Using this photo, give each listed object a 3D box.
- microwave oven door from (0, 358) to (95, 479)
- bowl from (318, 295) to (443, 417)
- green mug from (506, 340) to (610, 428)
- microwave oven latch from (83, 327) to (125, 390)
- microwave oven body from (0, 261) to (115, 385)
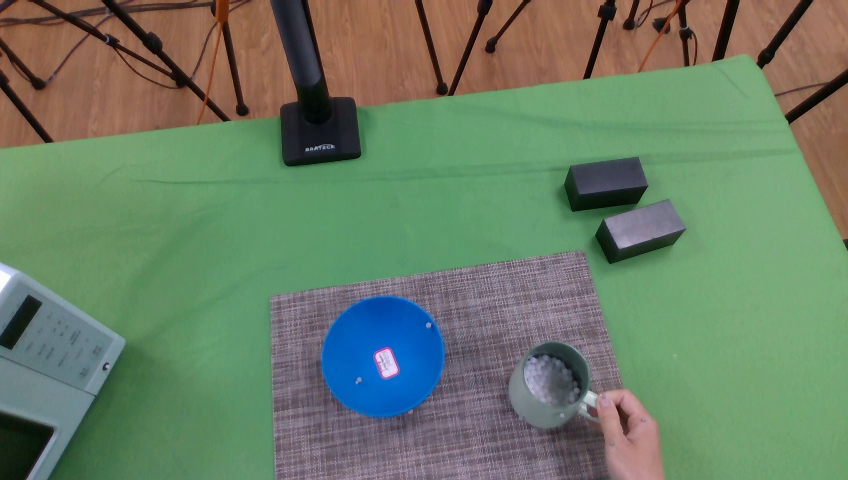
[{"bbox_3d":[-0.496,0.290,0.597,0.039,0.245,0.354,17,66,10],"label":"microwave oven door"},{"bbox_3d":[-0.051,0.152,0.762,0.151,0.077,0.150,0,64,1],"label":"bowl"},{"bbox_3d":[0.163,0.181,0.730,0.125,0.106,0.092,26,67,13],"label":"green mug"},{"bbox_3d":[-0.417,0.149,0.775,0.030,0.030,0.079,20,67,10],"label":"microwave oven latch"},{"bbox_3d":[-0.619,0.212,0.641,0.325,0.262,0.439,18,67,9],"label":"microwave oven body"}]
